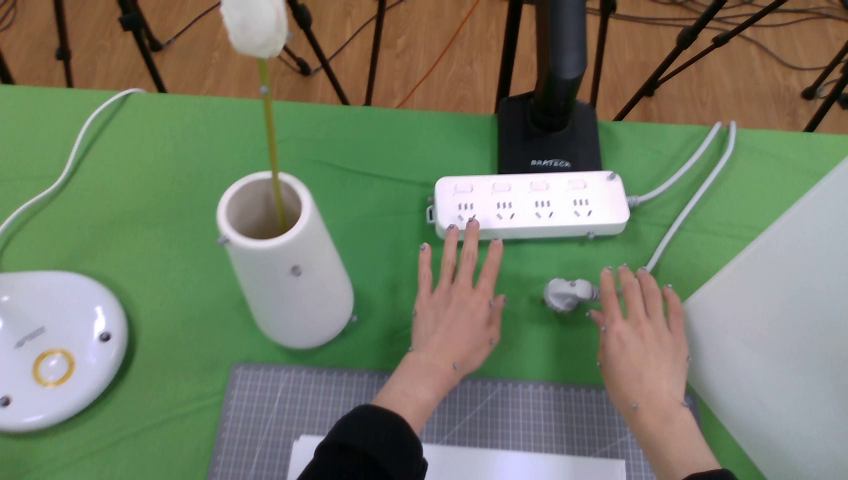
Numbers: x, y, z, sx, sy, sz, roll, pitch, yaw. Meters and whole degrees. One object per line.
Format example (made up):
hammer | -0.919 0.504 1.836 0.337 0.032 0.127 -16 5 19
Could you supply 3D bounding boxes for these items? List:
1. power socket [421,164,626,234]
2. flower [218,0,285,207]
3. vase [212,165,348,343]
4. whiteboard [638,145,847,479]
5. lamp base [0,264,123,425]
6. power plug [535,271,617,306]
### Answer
power socket | 0.111 -0.045 0.668 0.227 0.033 0.071 -2 63 -3
flower | -0.115 -0.037 0.469 0.038 0.365 0.043 -7 44 -13
vase | -0.124 0.018 0.533 0.098 0.201 0.097 0 61 0
whiteboard | 0.375 0.062 0.499 0.144 0.307 0.215 -18 61 -32
lamp base | -0.382 0.053 0.517 0.178 0.182 0.160 33 65 18
power plug | 0.149 0.057 0.612 0.073 0.053 0.035 28 59 -9
